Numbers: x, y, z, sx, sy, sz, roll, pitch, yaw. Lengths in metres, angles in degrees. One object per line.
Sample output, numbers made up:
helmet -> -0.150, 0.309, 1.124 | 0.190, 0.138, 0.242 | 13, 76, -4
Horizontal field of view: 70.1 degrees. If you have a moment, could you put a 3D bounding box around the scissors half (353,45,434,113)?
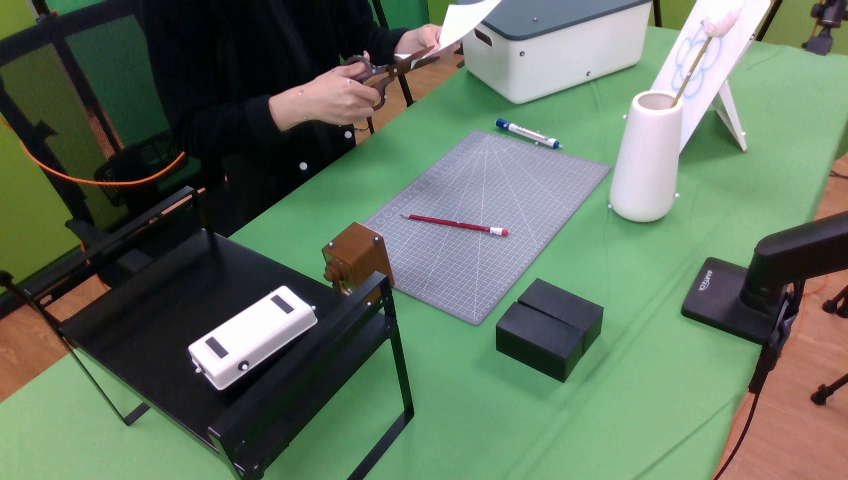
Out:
scissors half -> -0.046, -0.243, 0.916 | 0.174, 0.040, 0.013 | -31, 11, 39

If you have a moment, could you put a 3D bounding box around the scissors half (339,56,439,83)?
scissors half -> -0.056, -0.262, 0.909 | 0.174, 0.040, 0.013 | 1, 35, 27

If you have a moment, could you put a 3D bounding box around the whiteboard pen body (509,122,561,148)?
whiteboard pen body -> 0.209, -0.212, 1.195 | 0.139, 0.017, 0.017 | 30, 52, 33

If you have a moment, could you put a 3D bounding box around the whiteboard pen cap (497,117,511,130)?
whiteboard pen cap -> 0.165, -0.235, 1.226 | 0.033, 0.018, 0.018 | 32, 54, 30

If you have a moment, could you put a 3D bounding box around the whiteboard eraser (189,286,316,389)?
whiteboard eraser -> -0.166, 0.096, 0.593 | 0.113, 0.042, 0.055 | -36, 47, -29

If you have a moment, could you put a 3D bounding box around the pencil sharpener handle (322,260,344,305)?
pencil sharpener handle -> -0.131, 0.061, 0.839 | 0.035, 0.068, 0.031 | 29, 56, 27

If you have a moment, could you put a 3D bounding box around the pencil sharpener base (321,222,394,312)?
pencil sharpener base -> -0.096, 0.041, 0.873 | 0.061, 0.107, 0.077 | 26, 54, 32

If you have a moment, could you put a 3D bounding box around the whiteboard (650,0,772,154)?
whiteboard -> 0.543, -0.298, 1.076 | 0.144, 0.305, 0.216 | 12, 40, -7

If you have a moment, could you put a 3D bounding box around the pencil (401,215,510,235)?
pencil -> 0.049, -0.027, 1.007 | 0.193, 0.012, 0.012 | 10, 43, 21

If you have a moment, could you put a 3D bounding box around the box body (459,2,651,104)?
box body -> 0.291, -0.465, 1.371 | 0.365, 0.161, 0.252 | -22, 42, -16

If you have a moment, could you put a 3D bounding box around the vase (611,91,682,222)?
vase -> 0.348, -0.125, 0.935 | 0.098, 0.201, 0.097 | -3, 40, 3

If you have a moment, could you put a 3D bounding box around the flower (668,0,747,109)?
flower -> 0.354, -0.187, 0.879 | 0.038, 0.362, 0.044 | 30, 48, 14

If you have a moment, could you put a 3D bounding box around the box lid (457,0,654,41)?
box lid -> 0.285, -0.522, 1.323 | 0.373, 0.015, 0.261 | -22, 43, -16
